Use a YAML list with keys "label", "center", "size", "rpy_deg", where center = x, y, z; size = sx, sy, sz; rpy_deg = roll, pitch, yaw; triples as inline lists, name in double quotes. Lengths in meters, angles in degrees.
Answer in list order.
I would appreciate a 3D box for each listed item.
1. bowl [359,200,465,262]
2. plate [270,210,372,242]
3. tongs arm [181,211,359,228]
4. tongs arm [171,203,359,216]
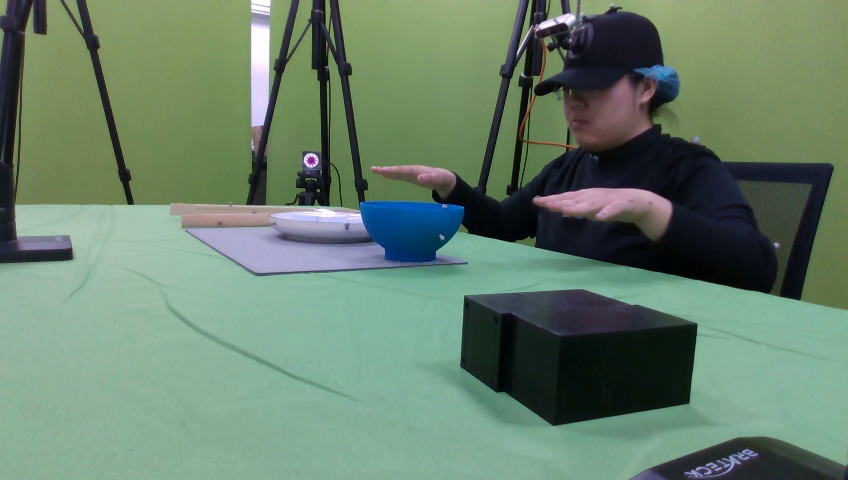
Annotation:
- label: "bowl"
  center: [-0.018, -0.013, 0.859]
  size: [0.151, 0.077, 0.151]
  rpy_deg: [2, 7, 0]
- label: "plate"
  center: [-0.161, -0.024, 1.055]
  size: [0.208, 0.039, 0.207]
  rpy_deg: [2, 7, 0]
- label: "tongs arm"
  center: [-0.291, -0.043, 1.225]
  size: [0.390, 0.028, 0.028]
  rpy_deg: [-3, 7, -38]
- label: "tongs arm"
  center: [-0.331, -0.058, 1.295]
  size: [0.387, 0.026, 0.050]
  rpy_deg: [0, 9, -25]
